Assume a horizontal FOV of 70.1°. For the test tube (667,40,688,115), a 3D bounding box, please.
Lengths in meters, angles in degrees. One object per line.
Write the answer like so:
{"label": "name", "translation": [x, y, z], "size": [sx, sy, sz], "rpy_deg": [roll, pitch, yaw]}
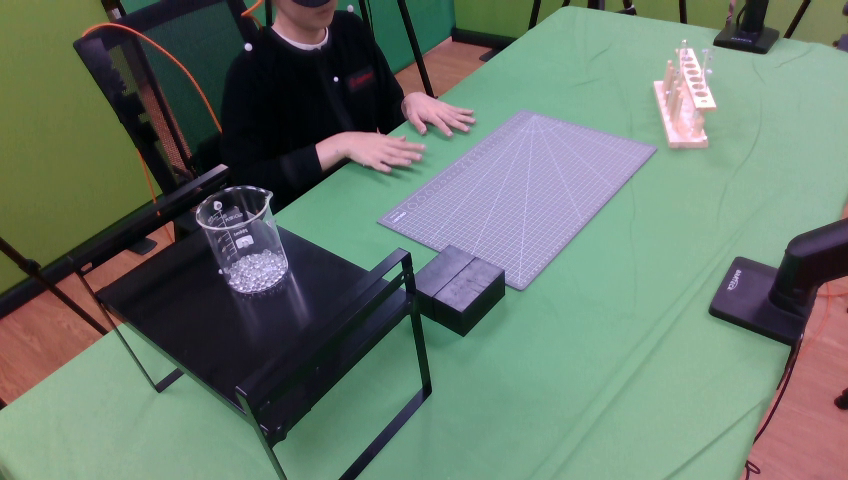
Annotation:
{"label": "test tube", "translation": [0.477, -0.303, 1.138], "size": [0.017, 0.151, 0.017], "rpy_deg": [-5, 42, 5]}

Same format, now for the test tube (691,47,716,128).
{"label": "test tube", "translation": [0.503, -0.272, 1.090], "size": [0.017, 0.151, 0.017], "rpy_deg": [-3, 36, 3]}

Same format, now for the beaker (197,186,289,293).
{"label": "beaker", "translation": [-0.192, 0.001, 0.666], "size": [0.084, 0.101, 0.073], "rpy_deg": [-33, 47, -27]}

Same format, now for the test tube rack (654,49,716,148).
{"label": "test tube rack", "translation": [0.502, -0.281, 1.176], "size": [0.066, 0.085, 0.241], "rpy_deg": [1, 41, 11]}
